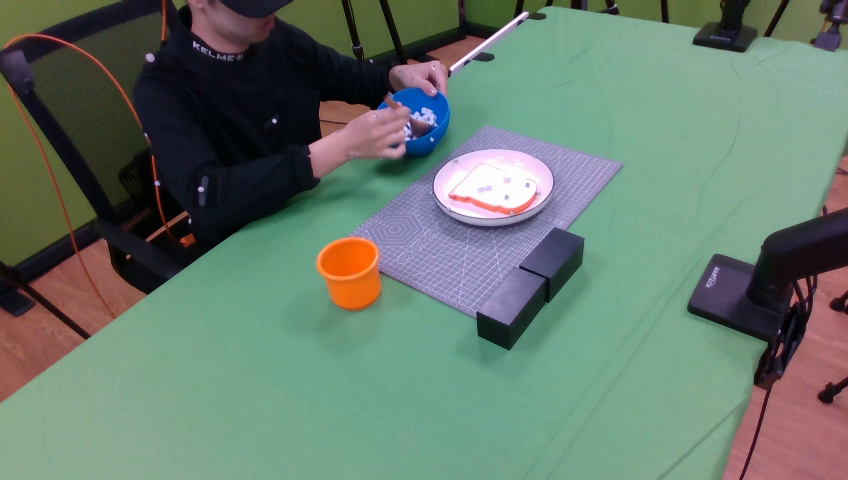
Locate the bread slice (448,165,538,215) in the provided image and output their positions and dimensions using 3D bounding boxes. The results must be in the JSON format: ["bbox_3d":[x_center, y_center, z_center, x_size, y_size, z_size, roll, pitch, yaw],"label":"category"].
[{"bbox_3d":[0.126,-0.085,1.038,0.133,0.018,0.107,16,45,27],"label":"bread slice"}]

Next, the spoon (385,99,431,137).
[{"bbox_3d":[-0.032,-0.222,1.099,0.041,0.195,0.021,-28,72,15],"label":"spoon"}]

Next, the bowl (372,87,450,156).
[{"bbox_3d":[-0.017,-0.216,1.169,0.151,0.077,0.150,-7,53,10],"label":"bowl"}]

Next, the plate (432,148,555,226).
[{"bbox_3d":[0.119,-0.087,1.037,0.209,0.038,0.208,-4,40,4],"label":"plate"}]
